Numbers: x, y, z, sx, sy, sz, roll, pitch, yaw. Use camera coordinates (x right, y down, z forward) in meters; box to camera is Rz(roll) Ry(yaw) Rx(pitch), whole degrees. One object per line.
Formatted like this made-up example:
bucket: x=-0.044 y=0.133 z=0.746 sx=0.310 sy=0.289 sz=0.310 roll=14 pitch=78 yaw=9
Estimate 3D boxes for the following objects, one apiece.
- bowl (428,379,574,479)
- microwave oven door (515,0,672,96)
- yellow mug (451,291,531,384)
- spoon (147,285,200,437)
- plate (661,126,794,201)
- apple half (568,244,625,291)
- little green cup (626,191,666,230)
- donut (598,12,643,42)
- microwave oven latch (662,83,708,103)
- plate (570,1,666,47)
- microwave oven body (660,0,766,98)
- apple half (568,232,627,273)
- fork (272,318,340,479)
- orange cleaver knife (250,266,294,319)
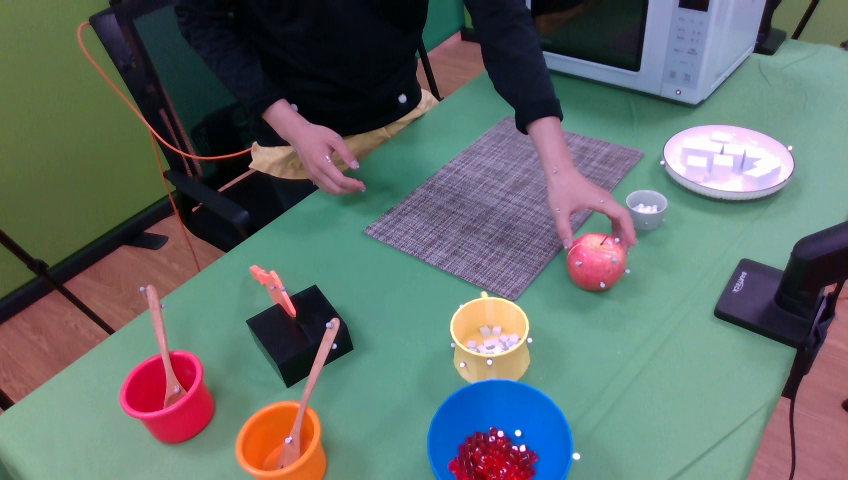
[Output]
bowl: x=0.082 y=0.233 z=0.644 sx=0.151 sy=0.077 sz=0.150 roll=-4 pitch=39 yaw=4
microwave oven door: x=0.344 y=-0.455 z=1.259 sx=0.353 sy=0.245 sz=0.039 roll=26 pitch=51 yaw=33
yellow mug: x=0.085 y=0.120 z=0.786 sx=0.100 sy=0.064 sz=0.130 roll=-7 pitch=39 yaw=1
spoon: x=-0.318 y=0.148 z=0.754 sx=0.042 sy=0.021 sz=0.193 roll=-15 pitch=85 yaw=-10
plate: x=0.513 y=-0.128 z=1.035 sx=0.207 sy=0.039 sz=0.206 roll=-4 pitch=40 yaw=4
apple half: x=0.236 y=0.047 z=0.842 sx=0.081 sy=0.081 sz=0.033 roll=12 pitch=39 yaw=21
little green cup: x=0.352 y=-0.046 z=0.963 sx=0.061 sy=0.039 sz=0.061 roll=-4 pitch=40 yaw=4
donut: x=0.437 y=-0.474 z=1.346 sx=0.099 sy=0.048 sz=0.098 roll=-17 pitch=24 yaw=8
microwave oven latch: x=0.518 y=-0.297 z=1.205 sx=0.078 sy=0.029 sz=0.030 roll=29 pitch=53 yaw=36
plate: x=0.437 y=-0.485 z=1.370 sx=0.209 sy=0.038 sz=0.208 roll=-4 pitch=41 yaw=4
microwave oven body: x=0.473 y=-0.513 z=1.317 sx=0.438 sy=0.261 sz=0.327 roll=26 pitch=51 yaw=34
apple half: x=0.251 y=0.023 z=0.869 sx=0.080 sy=0.075 sz=0.053 roll=14 pitch=40 yaw=21
fork: x=-0.131 y=0.186 z=0.676 sx=0.028 sy=0.019 sz=0.207 roll=18 pitch=90 yaw=28
orange cleaver knife: x=-0.221 y=0.073 z=0.876 sx=0.012 sy=0.077 sz=0.210 roll=-24 pitch=12 yaw=-22
